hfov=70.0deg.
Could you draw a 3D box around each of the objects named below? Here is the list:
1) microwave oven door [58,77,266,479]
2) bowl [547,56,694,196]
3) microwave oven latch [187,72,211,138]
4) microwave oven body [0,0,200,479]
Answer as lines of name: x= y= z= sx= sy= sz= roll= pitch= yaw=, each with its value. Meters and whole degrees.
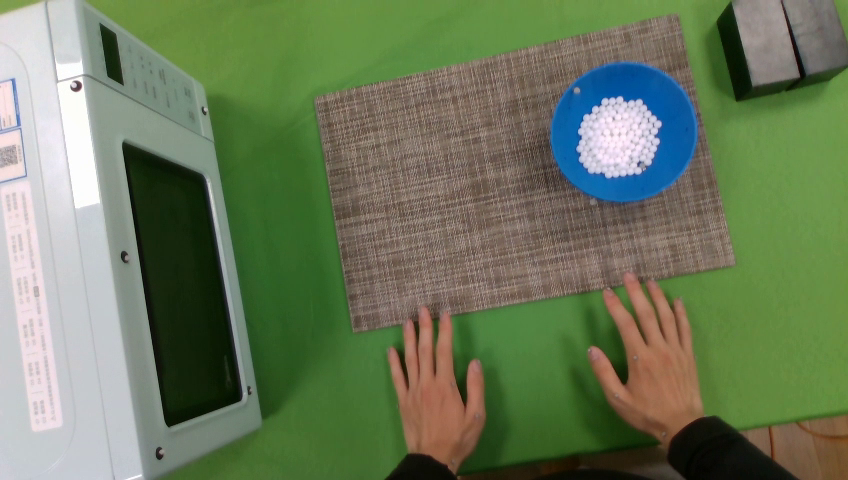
microwave oven door: x=-0.259 y=0.040 z=0.630 sx=0.039 sy=0.244 sz=0.354 roll=-13 pitch=84 yaw=7
bowl: x=0.211 y=-0.117 z=0.674 sx=0.151 sy=0.077 sz=0.151 roll=-1 pitch=86 yaw=8
microwave oven latch: x=-0.288 y=-0.165 z=0.751 sx=0.030 sy=0.029 sz=0.079 roll=-13 pitch=85 yaw=6
microwave oven body: x=-0.409 y=0.032 z=0.656 sx=0.326 sy=0.261 sz=0.440 roll=-13 pitch=85 yaw=6
